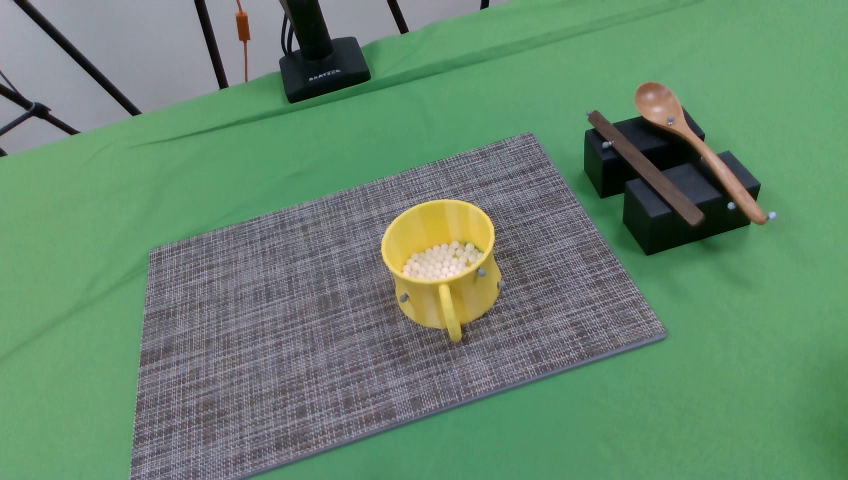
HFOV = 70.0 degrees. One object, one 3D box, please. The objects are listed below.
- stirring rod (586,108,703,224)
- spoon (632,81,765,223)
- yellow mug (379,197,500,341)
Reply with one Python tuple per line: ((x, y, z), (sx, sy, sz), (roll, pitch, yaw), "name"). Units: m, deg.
((0.196, -0.074, 0.555), (0.014, 0.006, 0.174), (-48, 43, 21), "stirring rod")
((0.247, -0.086, 0.551), (0.041, 0.022, 0.191), (-16, 48, -4), "spoon")
((0.018, 0.029, 0.531), (0.100, 0.064, 0.129), (-12, 47, 3), "yellow mug")
